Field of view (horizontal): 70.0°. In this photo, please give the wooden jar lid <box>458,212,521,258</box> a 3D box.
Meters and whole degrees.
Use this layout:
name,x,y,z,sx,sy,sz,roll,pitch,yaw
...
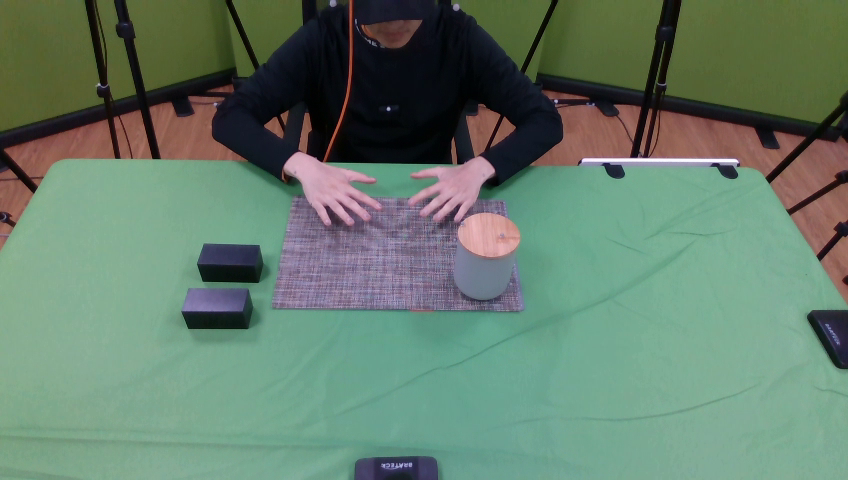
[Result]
name,x,y,z,sx,sy,sz,roll,pitch,yaw
wooden jar lid,0.112,-0.006,1.048,0.108,0.021,0.107,0,45,0

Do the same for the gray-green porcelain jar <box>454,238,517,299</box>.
name,x,y,z,sx,sy,sz,roll,pitch,yaw
gray-green porcelain jar,0.109,0.036,1.092,0.106,0.127,0.105,2,46,-2
